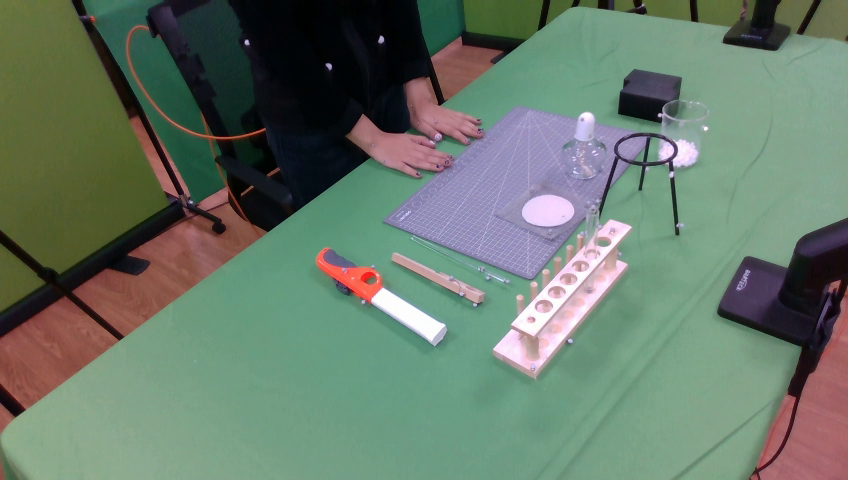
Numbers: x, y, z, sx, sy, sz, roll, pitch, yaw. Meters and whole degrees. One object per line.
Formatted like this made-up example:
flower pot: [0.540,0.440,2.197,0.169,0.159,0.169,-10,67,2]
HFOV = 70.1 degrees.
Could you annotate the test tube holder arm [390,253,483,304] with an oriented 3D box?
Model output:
test tube holder arm: [0.015,0.056,0.916,0.177,0.015,0.013,24,15,33]

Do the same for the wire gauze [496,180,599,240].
wire gauze: [0.206,-0.050,1.012,0.125,0.011,0.120,-34,45,-26]

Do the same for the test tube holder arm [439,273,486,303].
test tube holder arm: [0.053,0.070,0.896,0.087,0.015,0.010,24,15,34]

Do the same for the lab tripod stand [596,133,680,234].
lab tripod stand: [0.338,-0.090,0.940,0.148,0.132,0.147,-7,39,6]

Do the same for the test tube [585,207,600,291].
test tube: [0.222,0.016,0.797,0.017,0.151,0.017,-7,45,7]

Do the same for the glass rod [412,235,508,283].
glass rod: [0.051,0.028,0.951,0.198,0.008,0.008,25,51,37]

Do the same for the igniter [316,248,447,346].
igniter: [-0.074,0.078,0.902,0.274,0.025,0.057,29,63,36]

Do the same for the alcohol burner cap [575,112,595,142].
alcohol burner cap: [0.276,-0.194,1.028,0.034,0.048,0.033,-2,45,3]

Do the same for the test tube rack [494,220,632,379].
test tube rack: [0.191,0.068,0.818,0.066,0.085,0.243,25,51,35]

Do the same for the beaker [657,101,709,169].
beaker: [0.449,-0.183,1.054,0.073,0.101,0.084,15,45,27]

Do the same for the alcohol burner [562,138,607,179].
alcohol burner: [0.280,-0.167,1.052,0.078,0.119,0.077,-5,39,4]
